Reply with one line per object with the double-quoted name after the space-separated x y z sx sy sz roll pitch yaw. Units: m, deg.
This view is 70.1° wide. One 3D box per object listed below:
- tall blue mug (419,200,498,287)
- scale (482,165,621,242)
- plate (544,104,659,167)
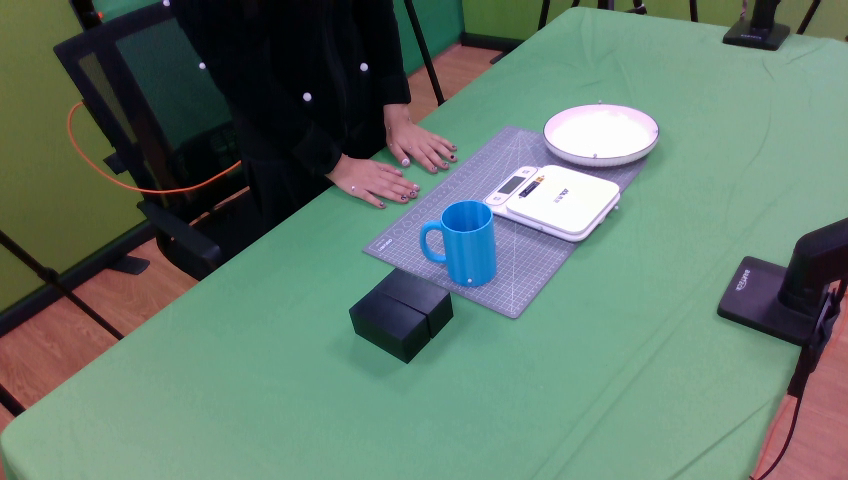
0.053 0.010 0.889 0.107 0.108 0.077 -15 41 -7 "tall blue mug"
0.211 -0.070 1.014 0.199 0.032 0.149 23 49 33 "scale"
0.328 -0.192 1.131 0.209 0.038 0.208 -4 39 4 "plate"
